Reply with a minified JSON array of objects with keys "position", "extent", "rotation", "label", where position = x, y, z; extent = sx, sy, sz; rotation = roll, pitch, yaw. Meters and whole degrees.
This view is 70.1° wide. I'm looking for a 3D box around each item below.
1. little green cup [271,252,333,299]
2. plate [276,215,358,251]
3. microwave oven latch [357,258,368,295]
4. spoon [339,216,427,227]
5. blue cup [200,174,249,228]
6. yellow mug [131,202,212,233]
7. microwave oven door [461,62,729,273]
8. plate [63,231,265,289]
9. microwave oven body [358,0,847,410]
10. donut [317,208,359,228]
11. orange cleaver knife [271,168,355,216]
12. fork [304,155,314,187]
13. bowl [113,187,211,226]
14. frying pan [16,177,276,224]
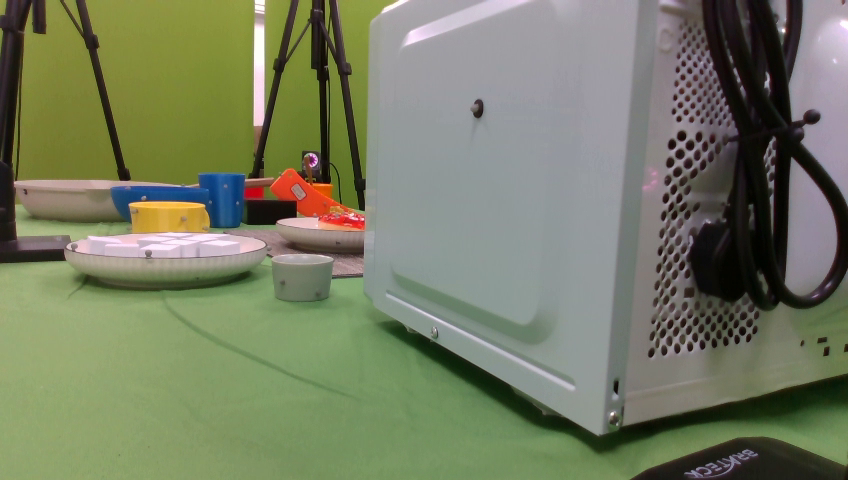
[{"position":[-0.122,0.035,0.605],"extent":[0.061,0.038,0.061],"rotation":[3,6,0],"label":"little green cup"},{"position":[-0.126,-0.012,0.950],"extent":[0.209,0.038,0.209],"rotation":[2,7,0],"label":"plate"},{"position":[-0.019,0.031,0.529],"extent":[0.079,0.029,0.030],"rotation":[-1,7,-27],"label":"microwave oven latch"},{"position":[-0.087,-0.041,1.268],"extent":[0.193,0.021,0.041],"rotation":[3,20,13],"label":"spoon"},{"position":[-0.380,-0.076,1.154],"extent":[0.093,0.100,0.092],"rotation":[0,8,0],"label":"blue cup"},{"position":[-0.356,-0.020,0.878],"extent":[0.099,0.064,0.131],"rotation":[5,7,21],"label":"yellow mug"},{"position":[0.203,-0.099,0.805],"extent":[0.354,0.243,0.039],"rotation":[8,10,39],"label":"microwave oven door"},{"position":[-0.288,0.021,0.687],"extent":[0.208,0.039,0.207],"rotation":[2,8,0],"label":"plate"},{"position":[0.210,-0.051,0.471],"extent":[0.444,0.260,0.324],"rotation":[-1,7,-28],"label":"microwave oven body"},{"position":[-0.118,-0.024,0.954],"extent":[0.099,0.048,0.099],"rotation":[5,7,0],"label":"donut"},{"position":[-0.236,-0.084,1.333],"extent":[0.212,0.077,0.012],"rotation":[31,-9,-31],"label":"orange cleaver knife"},{"position":[-0.268,-0.134,1.446],"extent":[0.028,0.018,0.207],"rotation":[1,-36,-1],"label":"fork"},{"position":[-0.436,-0.046,1.013],"extent":[0.151,0.077,0.151],"rotation":[2,7,0],"label":"bowl"},{"position":[-0.553,-0.097,1.265],"extent":[0.490,0.102,0.305],"rotation":[-10,13,-24],"label":"frying pan"}]
